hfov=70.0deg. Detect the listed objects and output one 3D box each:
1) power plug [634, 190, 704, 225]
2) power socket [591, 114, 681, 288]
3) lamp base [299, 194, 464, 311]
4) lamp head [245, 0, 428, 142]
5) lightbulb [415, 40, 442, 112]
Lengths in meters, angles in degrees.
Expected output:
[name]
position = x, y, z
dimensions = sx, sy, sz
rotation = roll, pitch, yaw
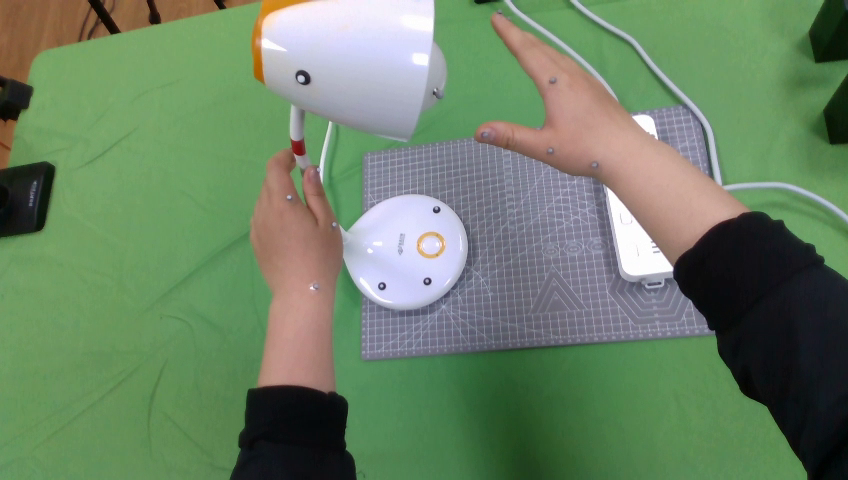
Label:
[power plug]
position = 0.282, -0.034, 0.703
dimensions = 0.072, 0.053, 0.035
rotation = 2, 73, 12
[power socket]
position = 0.255, -0.054, 0.738
dimensions = 0.072, 0.033, 0.225
rotation = -8, 69, 10
[lamp base]
position = -0.058, -0.010, 0.718
dimensions = 0.179, 0.182, 0.159
rotation = -11, 68, 13
[lamp head]
position = -0.066, -0.131, 0.440
dimensions = 0.123, 0.113, 0.111
rotation = 3, 70, -8
[lightbulb]
position = -0.040, -0.127, 0.438
dimensions = 0.108, 0.059, 0.059
rotation = 12, 72, -11
